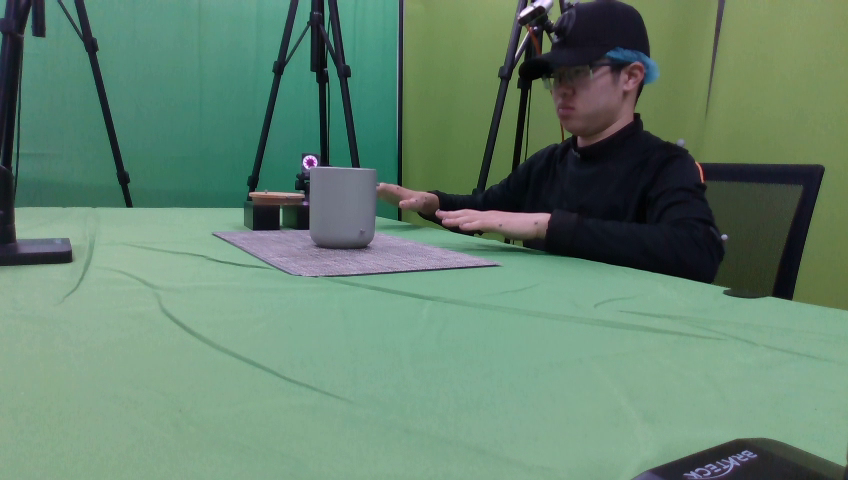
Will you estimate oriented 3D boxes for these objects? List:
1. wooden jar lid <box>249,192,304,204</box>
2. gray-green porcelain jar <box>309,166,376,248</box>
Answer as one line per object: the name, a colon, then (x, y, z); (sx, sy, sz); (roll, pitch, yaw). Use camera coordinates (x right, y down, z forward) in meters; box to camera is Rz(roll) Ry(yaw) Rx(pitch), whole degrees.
wooden jar lid: (-0.297, -0.086, 1.220); (0.108, 0.020, 0.108); (4, 7, 0)
gray-green porcelain jar: (-0.130, -0.054, 0.966); (0.106, 0.126, 0.106); (2, 7, 0)
